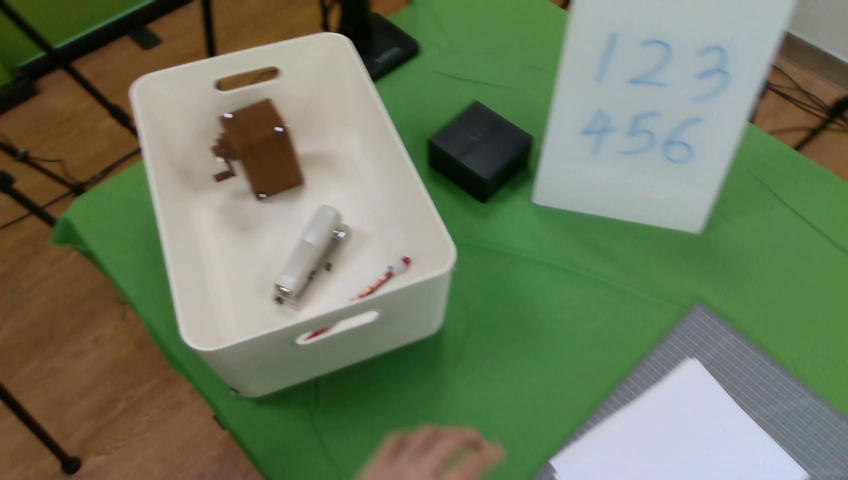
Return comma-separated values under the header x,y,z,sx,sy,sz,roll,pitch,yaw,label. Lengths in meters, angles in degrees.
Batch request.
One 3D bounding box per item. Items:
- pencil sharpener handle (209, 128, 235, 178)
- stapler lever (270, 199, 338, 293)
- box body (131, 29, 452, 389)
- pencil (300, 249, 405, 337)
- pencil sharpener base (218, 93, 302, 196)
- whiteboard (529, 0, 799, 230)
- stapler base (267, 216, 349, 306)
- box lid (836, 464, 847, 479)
x,y,z,sx,sy,sz,roll,pitch,yaw,label
-0.250,-0.102,0.734,0.031,0.068,0.035,-25,60,-15,pencil sharpener handle
-0.138,0.004,0.703,0.026,0.040,0.117,22,62,15,stapler lever
-0.150,-0.042,0.687,0.254,0.162,0.360,-18,60,-12,box body
-0.092,0.072,0.700,0.012,0.012,0.194,39,65,21,pencil
-0.205,-0.116,0.757,0.077,0.108,0.061,-25,60,-15,pencil sharpener base
0.270,-0.192,0.746,0.217,0.308,0.143,11,39,6,whiteboard
-0.138,0.016,0.726,0.041,0.024,0.130,22,62,15,stapler base
0.438,0.376,0.526,0.371,0.015,0.261,-38,67,-22,box lid
